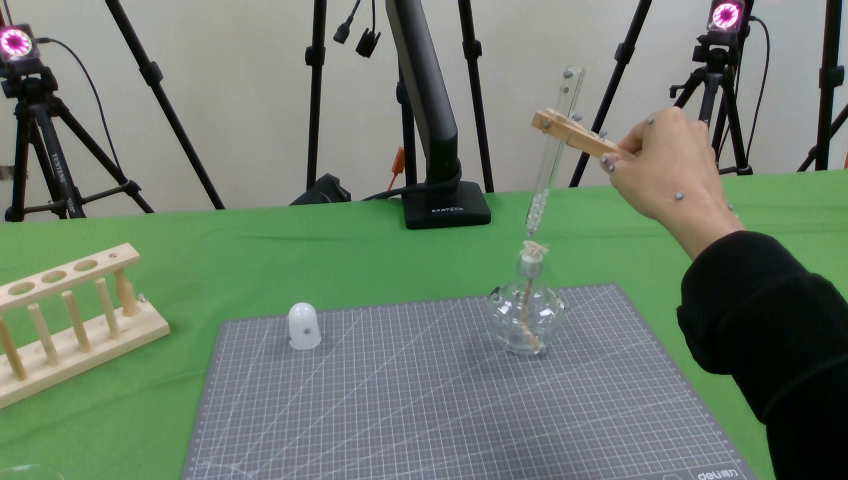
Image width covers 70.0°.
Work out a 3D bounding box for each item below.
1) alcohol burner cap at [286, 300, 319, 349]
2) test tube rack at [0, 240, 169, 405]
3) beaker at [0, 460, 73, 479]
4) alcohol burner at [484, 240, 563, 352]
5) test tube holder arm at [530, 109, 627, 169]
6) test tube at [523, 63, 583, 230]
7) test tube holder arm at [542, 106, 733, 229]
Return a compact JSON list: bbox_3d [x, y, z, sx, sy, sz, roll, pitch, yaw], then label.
[{"bbox_3d":[-0.126,0.083,0.615,0.034,0.048,0.033,-1,31,1],"label":"alcohol burner cap"},{"bbox_3d":[-0.382,0.090,0.574,0.243,0.086,0.066,-25,39,-35],"label":"test tube rack"},{"bbox_3d":[-0.247,0.199,0.373,0.084,0.101,0.073,-1,31,1],"label":"beaker"},{"bbox_3d":[0.099,0.051,0.595,0.078,0.120,0.077,1,31,0],"label":"alcohol burner"},{"bbox_3d":[0.126,-0.084,0.496,0.087,0.015,0.010,33,40,24],"label":"test tube holder arm"},{"bbox_3d":[0.109,-0.076,0.521,0.017,0.151,0.017,8,29,-4],"label":"test tube"},{"bbox_3d":[0.161,-0.061,0.479,0.013,0.015,0.176,-23,50,-40],"label":"test tube holder arm"}]
